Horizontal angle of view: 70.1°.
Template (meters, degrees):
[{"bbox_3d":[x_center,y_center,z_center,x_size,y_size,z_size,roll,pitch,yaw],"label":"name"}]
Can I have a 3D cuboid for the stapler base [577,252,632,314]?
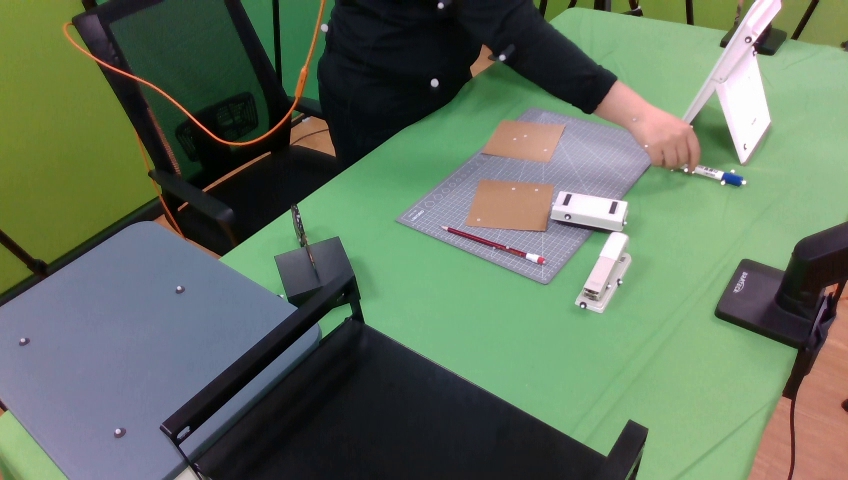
[{"bbox_3d":[0.264,0.051,0.875,0.041,0.024,0.131,16,47,30],"label":"stapler base"}]

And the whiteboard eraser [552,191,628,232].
[{"bbox_3d":[0.266,-0.044,0.967,0.112,0.042,0.055,11,42,20],"label":"whiteboard eraser"}]

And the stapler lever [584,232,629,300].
[{"bbox_3d":[0.261,0.034,0.858,0.026,0.040,0.118,16,46,30],"label":"stapler lever"}]

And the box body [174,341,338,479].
[{"bbox_3d":[-0.311,0.165,0.720,0.361,0.161,0.255,23,49,32],"label":"box body"}]

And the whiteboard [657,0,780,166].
[{"bbox_3d":[0.571,-0.272,1.038,0.143,0.306,0.218,36,54,17],"label":"whiteboard"}]

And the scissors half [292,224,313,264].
[{"bbox_3d":[-0.189,0.007,0.954,0.013,0.040,0.174,-17,21,-14],"label":"scissors half"}]

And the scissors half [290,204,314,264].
[{"bbox_3d":[-0.190,-0.010,0.945,0.013,0.040,0.173,-12,37,-17],"label":"scissors half"}]

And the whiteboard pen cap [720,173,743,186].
[{"bbox_3d":[0.519,-0.103,1.020,0.033,0.018,0.018,23,49,29],"label":"whiteboard pen cap"}]

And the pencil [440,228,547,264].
[{"bbox_3d":[0.105,0.007,0.957,0.192,0.012,0.012,18,46,30],"label":"pencil"}]

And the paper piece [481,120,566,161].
[{"bbox_3d":[0.197,-0.199,1.188,0.135,0.004,0.135,10,44,21],"label":"paper piece"}]

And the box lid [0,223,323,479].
[{"bbox_3d":[-0.318,0.109,0.671,0.368,0.015,0.264,24,49,31],"label":"box lid"}]

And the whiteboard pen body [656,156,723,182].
[{"bbox_3d":[0.475,-0.121,1.054,0.139,0.017,0.017,24,50,30],"label":"whiteboard pen body"}]

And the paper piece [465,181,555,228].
[{"bbox_3d":[0.149,-0.062,1.034,0.137,0.009,0.136,4,37,17],"label":"paper piece"}]
